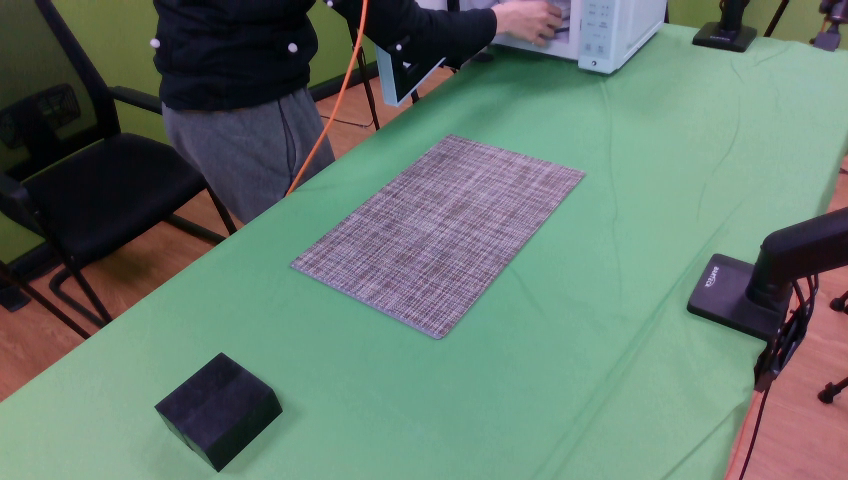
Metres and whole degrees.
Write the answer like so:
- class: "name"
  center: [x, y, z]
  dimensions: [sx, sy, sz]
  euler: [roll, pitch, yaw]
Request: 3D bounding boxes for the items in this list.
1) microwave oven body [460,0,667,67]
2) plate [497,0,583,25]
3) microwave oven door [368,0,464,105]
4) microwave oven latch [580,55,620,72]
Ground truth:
- class: "microwave oven body"
  center: [0.324, -0.609, 1.437]
  dimensions: [0.438, 0.261, 0.327]
  euler: [22, 50, 31]
- class: "plate"
  center: [0.283, -0.573, 1.484]
  dimensions: [0.209, 0.038, 0.208]
  euler: [-3, 40, 3]
- class: "microwave oven door"
  center: [-0.007, -0.497, 1.348]
  dimensions: [0.039, 0.245, 0.356]
  euler: [14, 46, 23]
- class: "microwave oven latch"
  center: [0.386, -0.393, 1.330]
  dimensions: [0.078, 0.029, 0.030]
  euler: [25, 51, 32]
